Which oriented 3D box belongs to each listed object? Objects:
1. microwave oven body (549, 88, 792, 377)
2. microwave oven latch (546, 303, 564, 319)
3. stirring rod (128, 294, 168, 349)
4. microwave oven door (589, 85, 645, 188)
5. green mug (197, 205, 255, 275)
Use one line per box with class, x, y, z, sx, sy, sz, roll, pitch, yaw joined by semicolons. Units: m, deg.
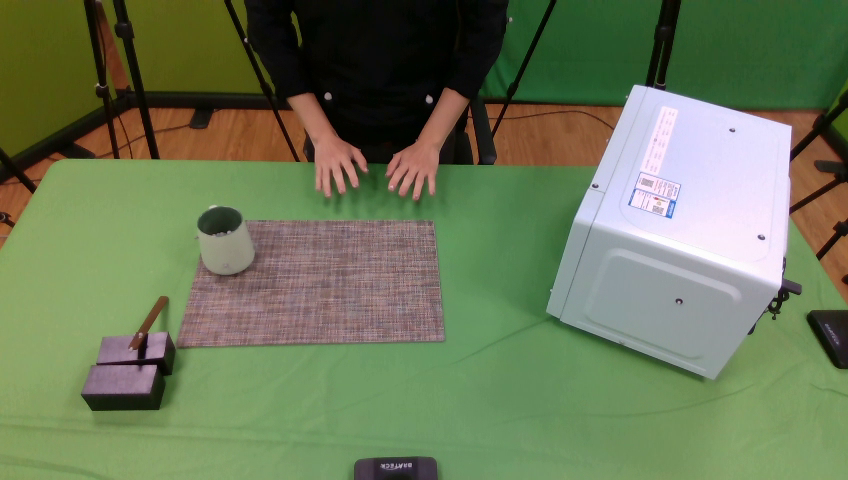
microwave oven body;0.456;-0.028;1.088;0.325;0.261;0.440;20;47;16
microwave oven latch;0.242;0.102;1.081;0.030;0.029;0.079;21;48;17
stirring rod;-0.451;0.131;0.996;0.014;0.006;0.175;9;21;-10
microwave oven door;0.342;-0.107;1.149;0.039;0.245;0.354;20;48;15
green mug;-0.370;-0.008;1.114;0.092;0.105;0.124;-19;50;-20
